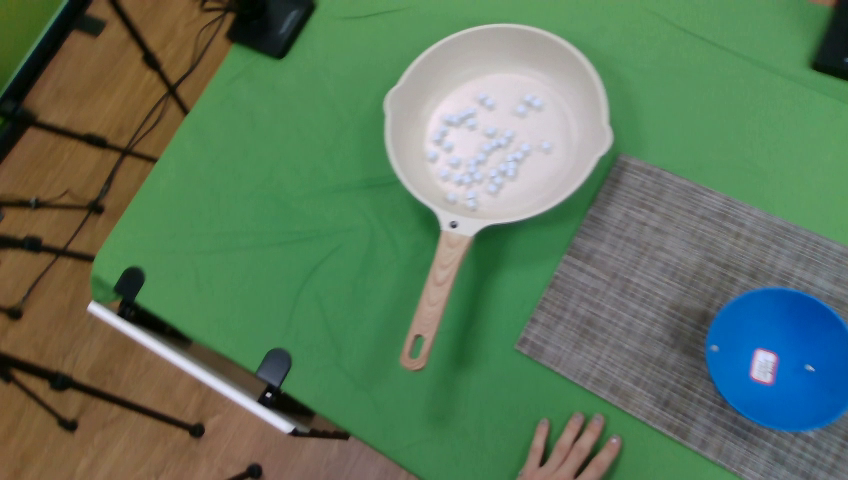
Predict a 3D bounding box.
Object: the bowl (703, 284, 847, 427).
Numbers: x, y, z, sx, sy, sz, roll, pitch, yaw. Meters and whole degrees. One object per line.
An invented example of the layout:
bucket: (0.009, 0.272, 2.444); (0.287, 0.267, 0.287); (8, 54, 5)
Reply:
bowl: (0.380, 0.130, 0.667); (0.151, 0.077, 0.150); (-3, 72, 11)

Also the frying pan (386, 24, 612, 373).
frying pan: (0.061, -0.061, 0.785); (0.305, 0.103, 0.485); (15, 68, 17)
